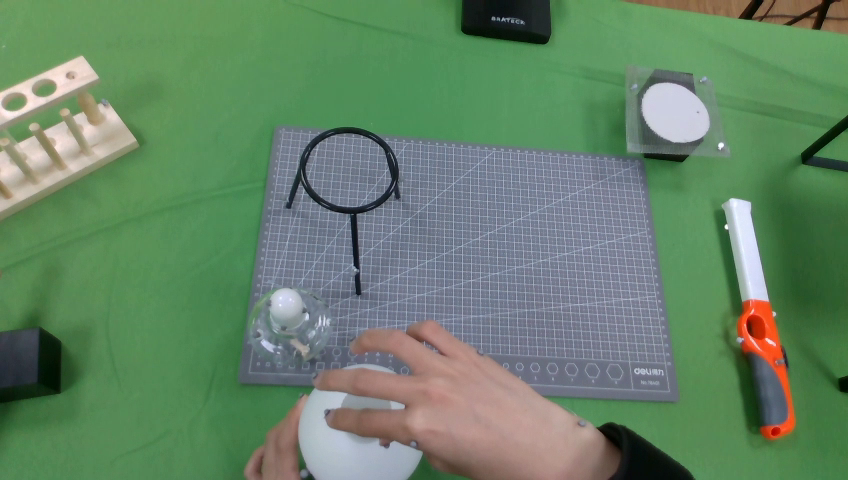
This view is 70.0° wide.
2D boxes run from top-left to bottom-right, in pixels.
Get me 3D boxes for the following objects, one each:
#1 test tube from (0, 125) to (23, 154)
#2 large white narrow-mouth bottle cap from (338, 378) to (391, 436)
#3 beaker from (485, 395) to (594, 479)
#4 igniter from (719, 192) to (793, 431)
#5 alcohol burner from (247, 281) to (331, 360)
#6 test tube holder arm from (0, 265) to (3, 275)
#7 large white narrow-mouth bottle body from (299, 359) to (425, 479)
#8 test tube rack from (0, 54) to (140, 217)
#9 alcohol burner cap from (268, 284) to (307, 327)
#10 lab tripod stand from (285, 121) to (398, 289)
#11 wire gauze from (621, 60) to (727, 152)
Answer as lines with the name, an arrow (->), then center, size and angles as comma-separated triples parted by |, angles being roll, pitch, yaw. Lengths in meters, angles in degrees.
test tube -> -0.414, -0.127, 0.568 | 0.017, 0.151, 0.017 | 4, 61, -7
large white narrow-mouth bottle cap -> -0.041, 0.114, 0.413 | 0.038, 0.024, 0.037 | 3, 66, -6
beaker -> 0.097, 0.185, 0.552 | 0.084, 0.101, 0.073 | 30, 65, 7
igniter -> 0.370, 0.072, 0.679 | 0.057, 0.025, 0.274 | 9, 66, -16
alcohol burner -> -0.125, 0.069, 0.560 | 0.078, 0.120, 0.077 | 4, 65, -8
test tube holder arm -> -0.390, 0.061, 0.528 | 0.010, 0.015, 0.087 | 7, 65, -5
large white narrow-mouth bottle body -> -0.050, 0.152, 0.493 | 0.102, 0.196, 0.101 | 3, 65, -6
test tube rack -> -0.424, -0.083, 0.601 | 0.242, 0.085, 0.066 | -35, 75, -21
alcohol burner cap -> -0.120, 0.055, 0.526 | 0.034, 0.048, 0.033 | 2, 72, -6
lab tripod stand -> -0.074, -0.040, 0.604 | 0.149, 0.132, 0.147 | 4, 67, -8
wire gauze -> 0.297, -0.160, 0.728 | 0.122, 0.011, 0.124 | 6, 66, -5
